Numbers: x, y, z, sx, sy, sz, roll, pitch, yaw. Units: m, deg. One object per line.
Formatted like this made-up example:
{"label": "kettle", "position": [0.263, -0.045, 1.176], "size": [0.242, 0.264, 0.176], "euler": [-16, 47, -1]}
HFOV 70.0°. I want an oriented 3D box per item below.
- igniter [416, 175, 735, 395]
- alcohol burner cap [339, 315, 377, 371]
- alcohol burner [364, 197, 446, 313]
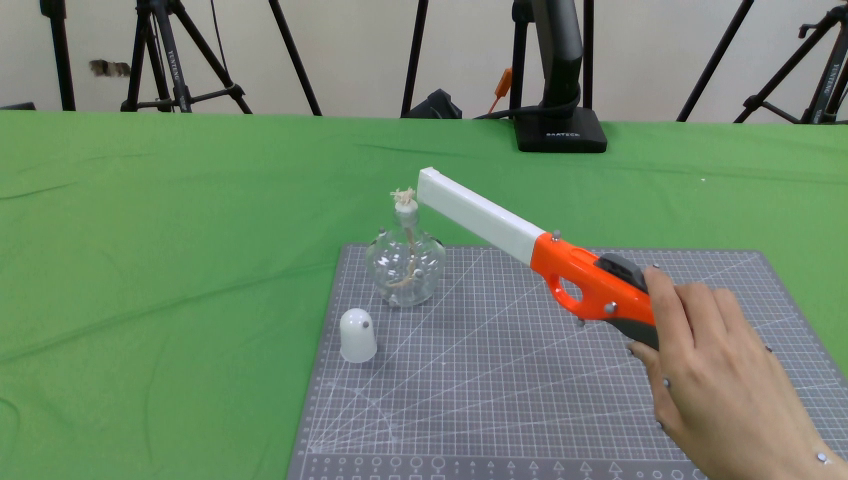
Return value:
{"label": "igniter", "position": [0.092, 0.019, 0.437], "size": [0.025, 0.057, 0.273], "euler": [-23, 42, -37]}
{"label": "alcohol burner cap", "position": [-0.058, 0.085, 0.519], "size": [0.034, 0.048, 0.033], "euler": [1, 37, 0]}
{"label": "alcohol burner", "position": [-0.017, 0.010, 0.562], "size": [0.078, 0.120, 0.077], "euler": [1, 38, -1]}
